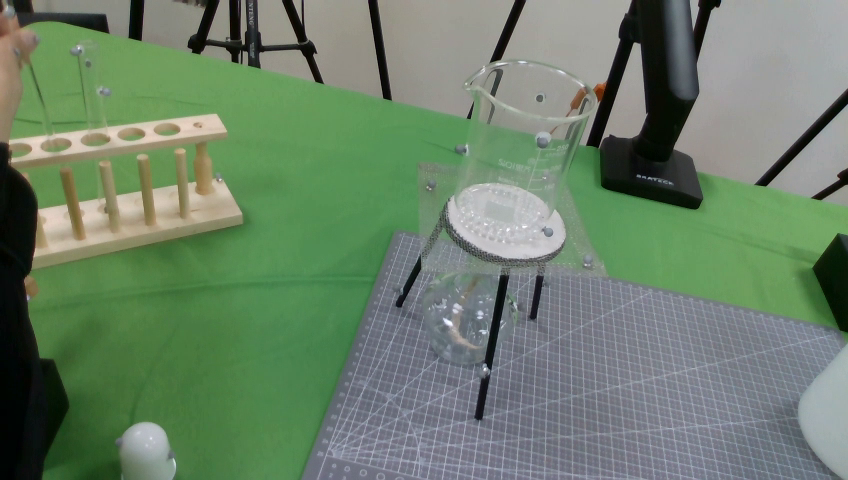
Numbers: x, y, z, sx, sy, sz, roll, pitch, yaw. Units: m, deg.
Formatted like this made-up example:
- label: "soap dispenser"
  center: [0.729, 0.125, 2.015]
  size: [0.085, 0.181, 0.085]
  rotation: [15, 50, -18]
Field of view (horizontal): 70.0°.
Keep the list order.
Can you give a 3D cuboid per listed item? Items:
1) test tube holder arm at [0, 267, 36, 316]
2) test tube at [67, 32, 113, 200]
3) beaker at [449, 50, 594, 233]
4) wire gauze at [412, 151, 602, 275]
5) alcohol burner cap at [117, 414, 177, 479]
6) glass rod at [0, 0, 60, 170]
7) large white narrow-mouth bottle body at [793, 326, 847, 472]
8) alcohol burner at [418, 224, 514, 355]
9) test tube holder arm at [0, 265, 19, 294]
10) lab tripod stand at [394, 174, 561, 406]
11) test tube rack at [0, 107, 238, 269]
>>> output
- label: "test tube holder arm"
  center: [-0.283, 0.051, 0.386]
  size: [0.010, 0.015, 0.087]
  rotation: [14, 39, 4]
- label: "test tube"
  center: [-0.278, -0.098, 0.508]
  size: [0.017, 0.151, 0.017]
  rotation: [8, 36, -5]
- label: "beaker"
  center: [0.056, -0.062, 0.398]
  size: [0.084, 0.101, 0.073]
  rotation: [8, 41, -3]
- label: "wire gauze"
  center: [0.052, -0.021, 0.427]
  size: [0.122, 0.011, 0.124]
  rotation: [3, 44, -7]
- label: "alcohol burner cap"
  center: [-0.173, 0.129, 0.376]
  size: [0.034, 0.048, 0.033]
  rotation: [7, 40, -6]
- label: "glass rod"
  center: [-0.304, -0.125, 0.459]
  size: [0.008, 0.201, 0.008]
  rotation: [3, 37, -2]
- label: "large white narrow-mouth bottle body"
  center: [0.357, 0.083, 0.428]
  size: [0.102, 0.196, 0.101]
  rotation: [6, 40, -4]
- label: "alcohol burner"
  center: [0.036, 0.034, 0.475]
  size: [0.078, 0.120, 0.077]
  rotation: [8, 39, -6]
- label: "test tube holder arm"
  center: [-0.297, 0.076, 0.352]
  size: [0.013, 0.015, 0.177]
  rotation: [13, 39, 3]
- label: "lab tripod stand"
  center: [0.046, 0.030, 0.467]
  size: [0.149, 0.132, 0.147]
  rotation: [8, 41, -6]
- label: "test tube rack"
  center: [-0.292, -0.045, 0.519]
  size: [0.243, 0.086, 0.066]
  rotation: [-15, 47, -28]
